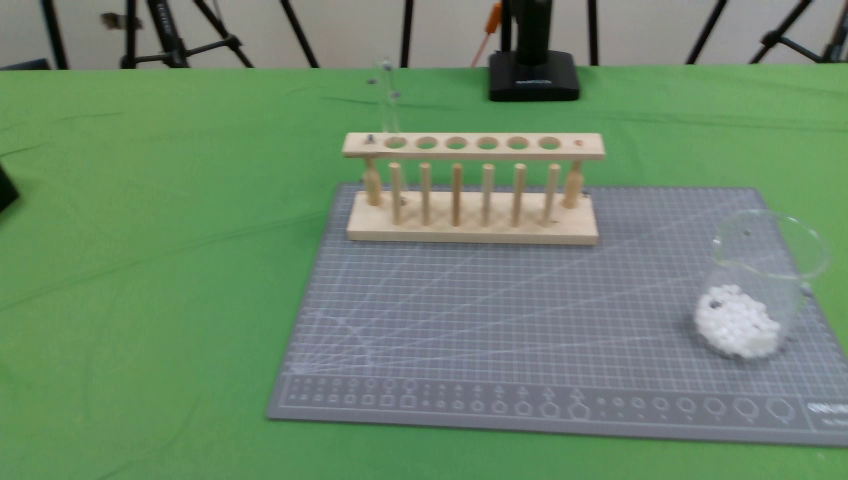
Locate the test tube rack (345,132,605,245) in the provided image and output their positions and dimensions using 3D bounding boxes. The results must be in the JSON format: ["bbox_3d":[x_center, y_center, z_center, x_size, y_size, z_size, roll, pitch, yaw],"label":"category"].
[{"bbox_3d":[0.047,-0.051,0.589,0.242,0.086,0.066,1,42,5],"label":"test tube rack"}]

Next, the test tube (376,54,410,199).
[{"bbox_3d":[-0.028,-0.102,0.575,0.017,0.151,0.017,-4,39,3],"label":"test tube"}]

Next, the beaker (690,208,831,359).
[{"bbox_3d":[0.250,0.038,0.468,0.084,0.101,0.073,-11,42,-7],"label":"beaker"}]
